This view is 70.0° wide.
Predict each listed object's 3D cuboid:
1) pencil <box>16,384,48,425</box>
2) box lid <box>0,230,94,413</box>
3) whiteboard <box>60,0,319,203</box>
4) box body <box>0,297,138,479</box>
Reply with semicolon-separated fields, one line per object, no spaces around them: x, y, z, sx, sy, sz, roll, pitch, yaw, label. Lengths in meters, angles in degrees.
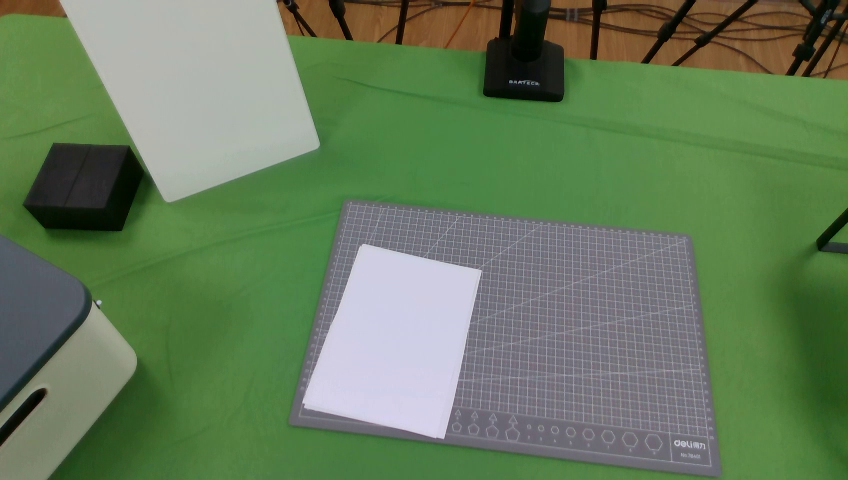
-0.410;0.171;0.638;0.012;0.012;0.192;8;49;5;pencil
-0.513;0.067;0.533;0.370;0.015;0.262;25;61;13;box lid
-0.292;-0.241;0.770;0.217;0.308;0.142;-23;41;-14;whiteboard
-0.512;0.107;0.596;0.362;0.162;0.253;24;61;14;box body
